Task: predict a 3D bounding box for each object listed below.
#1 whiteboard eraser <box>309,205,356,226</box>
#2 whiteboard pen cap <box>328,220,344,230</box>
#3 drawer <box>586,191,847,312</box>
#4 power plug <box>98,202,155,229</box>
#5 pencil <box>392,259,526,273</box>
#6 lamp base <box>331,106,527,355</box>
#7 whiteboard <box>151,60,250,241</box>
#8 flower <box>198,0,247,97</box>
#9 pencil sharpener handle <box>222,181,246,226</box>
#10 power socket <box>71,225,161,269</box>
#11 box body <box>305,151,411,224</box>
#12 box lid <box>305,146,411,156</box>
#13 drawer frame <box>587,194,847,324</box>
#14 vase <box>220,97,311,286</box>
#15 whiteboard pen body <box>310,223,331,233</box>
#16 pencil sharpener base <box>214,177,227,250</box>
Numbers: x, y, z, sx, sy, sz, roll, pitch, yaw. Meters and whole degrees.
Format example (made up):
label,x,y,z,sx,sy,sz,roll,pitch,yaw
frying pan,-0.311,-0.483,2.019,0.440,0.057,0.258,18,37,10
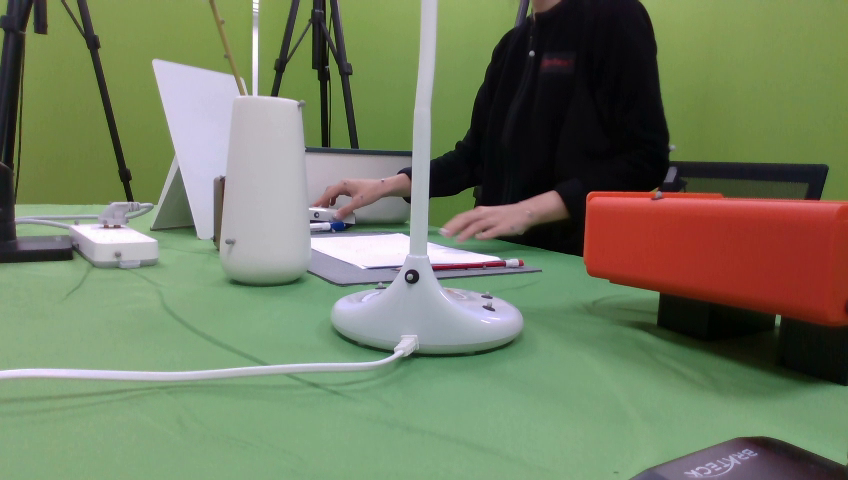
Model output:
label,x,y,z,sx,sy,sz,roll,pitch,yaw
whiteboard eraser,-0.192,-0.046,1.165,0.113,0.042,0.055,0,7,-33
whiteboard pen cap,-0.166,-0.027,1.124,0.018,0.018,0.033,9,11,42
drawer,0.281,0.001,0.513,0.195,0.073,0.210,-1,8,-29
power plug,-0.416,-0.027,0.848,0.073,0.052,0.035,0,8,-28
pencil,0.049,0.035,0.782,0.195,0.012,0.012,-3,9,-25
lamp base,0.006,-0.012,0.478,0.161,0.180,0.179,2,10,2
whiteboard,-0.408,-0.139,1.093,0.143,0.305,0.218,-15,0,25
flower,-0.187,-0.133,0.648,0.038,0.362,0.044,-1,22,43
pencil sharpener handle,-0.289,-0.055,0.912,0.036,0.067,0.030,-3,9,-29
power socket,-0.408,0.004,0.793,0.072,0.032,0.225,-2,8,-38
box body,-0.230,-0.126,1.371,0.366,0.160,0.253,-2,9,-33
box lid,-0.229,-0.200,1.361,0.373,0.015,0.262,-3,9,-32
drawer frame,0.285,0.004,0.508,0.203,0.082,0.212,-1,6,-29
vase,-0.172,-0.052,0.662,0.098,0.200,0.098,3,9,0
whiteboard pen body,-0.207,-0.021,1.081,0.017,0.017,0.141,9,10,41
pencil sharpener base,-0.265,-0.036,0.870,0.061,0.107,0.076,-2,8,-29
